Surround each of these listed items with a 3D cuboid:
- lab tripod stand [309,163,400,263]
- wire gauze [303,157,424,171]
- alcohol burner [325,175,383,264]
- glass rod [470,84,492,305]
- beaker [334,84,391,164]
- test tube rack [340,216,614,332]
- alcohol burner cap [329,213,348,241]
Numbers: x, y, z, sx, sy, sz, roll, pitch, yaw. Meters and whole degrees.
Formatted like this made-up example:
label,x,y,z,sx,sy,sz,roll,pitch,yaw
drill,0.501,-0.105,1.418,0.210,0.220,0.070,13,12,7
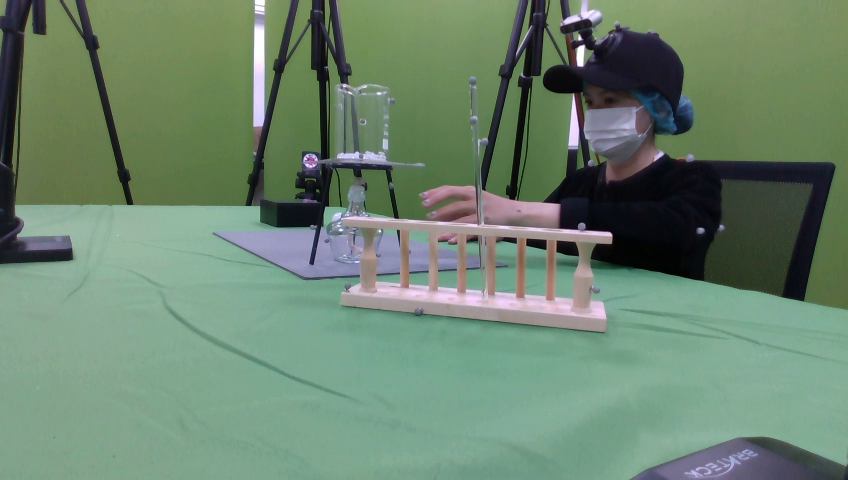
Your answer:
label,x,y,z,sx,sy,sz,roll,pitch,yaw
lab tripod stand,-0.091,-0.037,0.813,0.148,0.131,0.148,1,6,0
wire gauze,-0.082,-0.102,0.799,0.126,0.011,0.121,1,7,-30
alcohol burner,-0.093,-0.028,0.816,0.078,0.119,0.078,3,5,0
glass rod,0.051,-0.036,0.535,0.008,0.199,0.008,-5,10,1
beaker,-0.082,-0.149,0.792,0.074,0.100,0.084,2,5,5
test tube rack,0.048,0.026,0.568,0.242,0.085,0.067,4,8,13
alcohol burner cap,-0.148,-0.024,1.050,0.034,0.048,0.034,3,7,0
